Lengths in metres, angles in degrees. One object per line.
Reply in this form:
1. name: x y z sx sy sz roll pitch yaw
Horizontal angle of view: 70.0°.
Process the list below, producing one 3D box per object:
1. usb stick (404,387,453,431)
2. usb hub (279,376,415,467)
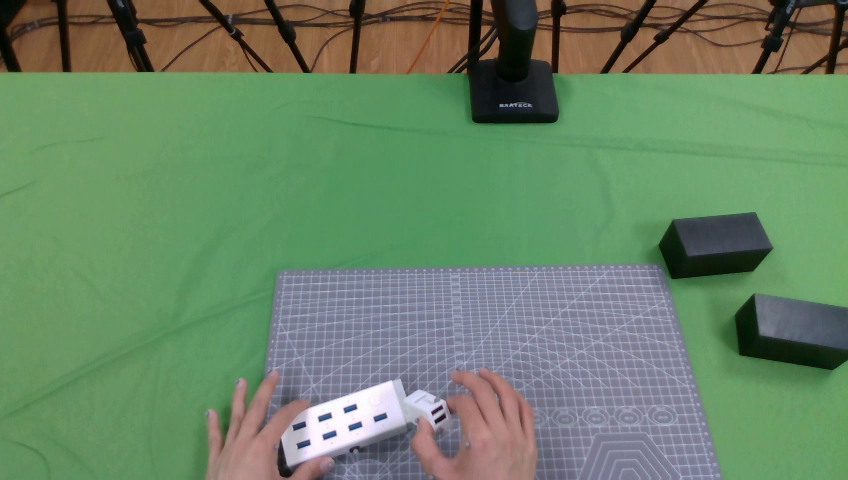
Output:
1. usb stick: 0.000 0.151 0.549 0.021 0.059 0.027 -28 100 -27
2. usb hub: -0.075 0.176 0.594 0.125 0.025 0.049 -16 57 -11
